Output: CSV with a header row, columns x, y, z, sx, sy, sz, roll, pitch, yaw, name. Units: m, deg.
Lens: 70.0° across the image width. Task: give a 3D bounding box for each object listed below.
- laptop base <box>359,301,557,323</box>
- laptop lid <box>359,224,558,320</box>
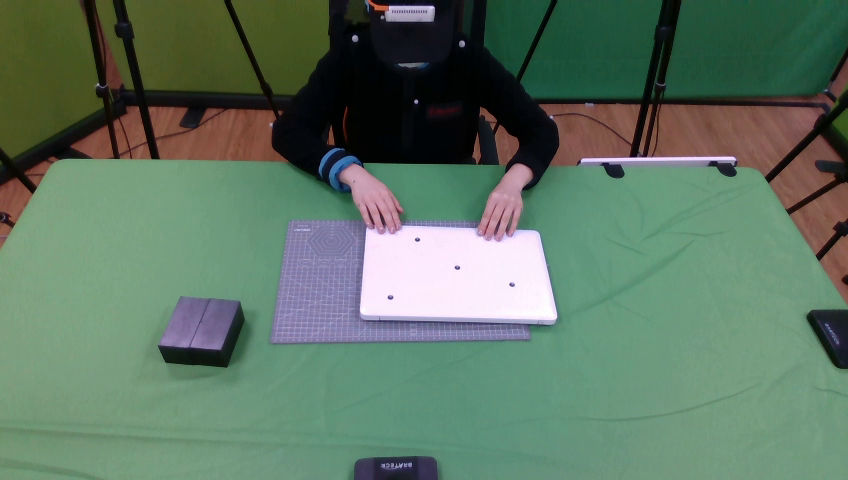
x,y,z,sx,sy,sz,roll,pitch,yaw,name
0.061,0.063,1.144,0.354,0.023,0.234,2,43,-3,laptop base
0.061,0.054,1.137,0.357,0.013,0.240,3,44,-2,laptop lid
